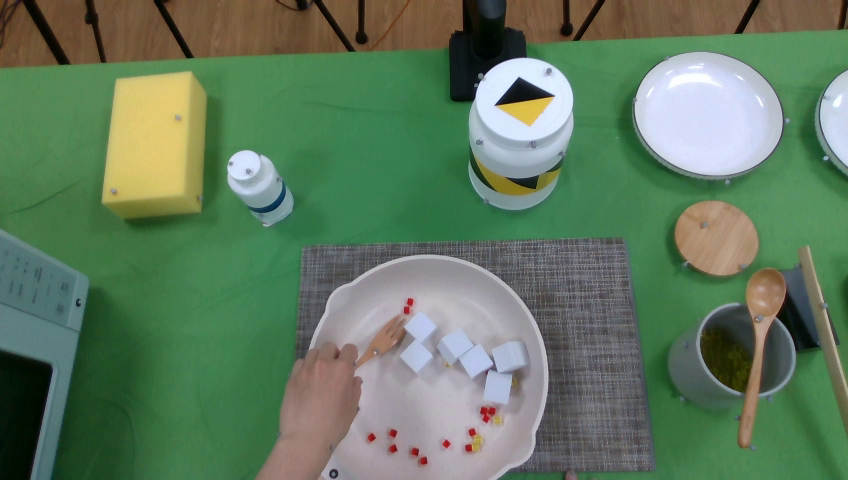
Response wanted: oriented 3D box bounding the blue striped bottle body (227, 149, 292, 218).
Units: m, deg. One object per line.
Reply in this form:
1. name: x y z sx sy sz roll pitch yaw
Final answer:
1. blue striped bottle body: -0.226 -0.081 0.829 0.063 0.121 0.062 -1 69 4

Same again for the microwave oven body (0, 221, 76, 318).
1. microwave oven body: -0.632 0.202 0.672 0.326 0.262 0.438 -1 71 3

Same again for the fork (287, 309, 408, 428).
1. fork: -0.091 0.156 0.751 0.028 0.019 0.207 42 53 9

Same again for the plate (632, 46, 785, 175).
1. plate: 0.403 -0.184 0.874 0.207 0.039 0.206 -1 70 3

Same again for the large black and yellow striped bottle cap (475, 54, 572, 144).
1. large black and yellow striped bottle cap: 0.117 -0.169 0.718 0.115 0.019 0.114 -1 71 3

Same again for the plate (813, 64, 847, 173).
1. plate: 0.652 -0.159 0.849 0.209 0.038 0.207 -1 70 3

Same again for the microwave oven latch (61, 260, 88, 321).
1. microwave oven latch: -0.477 0.068 0.815 0.030 0.030 0.078 2 71 4

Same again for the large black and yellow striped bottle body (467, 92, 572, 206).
1. large black and yellow striped bottle body: 0.122 -0.138 0.797 0.131 0.185 0.130 -1 69 3

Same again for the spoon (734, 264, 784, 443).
1. spoon: 0.351 0.118 0.646 0.041 0.022 0.193 15 75 5

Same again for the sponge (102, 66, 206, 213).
1. sponge: -0.395 -0.149 0.895 0.118 0.061 0.205 -6 71 1

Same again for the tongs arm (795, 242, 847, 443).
1. tongs arm: 0.501 0.187 0.697 0.051 0.026 0.383 -8 82 -3

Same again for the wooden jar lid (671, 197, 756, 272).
1. wooden jar lid: 0.389 -0.006 0.820 0.108 0.021 0.107 -1 71 4

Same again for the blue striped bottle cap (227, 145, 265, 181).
1. blue striped bottle cap: -0.230 -0.100 0.782 0.044 0.021 0.044 -1 72 3

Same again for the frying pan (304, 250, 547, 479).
1. frying pan: -0.066 0.228 0.714 0.305 0.103 0.487 38 69 16

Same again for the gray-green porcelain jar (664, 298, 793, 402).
1. gray-green porcelain jar: 0.350 0.135 0.715 0.106 0.127 0.105 -1 70 3

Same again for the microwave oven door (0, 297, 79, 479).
1. microwave oven door: -0.487 0.238 0.645 0.039 0.245 0.353 -1 70 4
